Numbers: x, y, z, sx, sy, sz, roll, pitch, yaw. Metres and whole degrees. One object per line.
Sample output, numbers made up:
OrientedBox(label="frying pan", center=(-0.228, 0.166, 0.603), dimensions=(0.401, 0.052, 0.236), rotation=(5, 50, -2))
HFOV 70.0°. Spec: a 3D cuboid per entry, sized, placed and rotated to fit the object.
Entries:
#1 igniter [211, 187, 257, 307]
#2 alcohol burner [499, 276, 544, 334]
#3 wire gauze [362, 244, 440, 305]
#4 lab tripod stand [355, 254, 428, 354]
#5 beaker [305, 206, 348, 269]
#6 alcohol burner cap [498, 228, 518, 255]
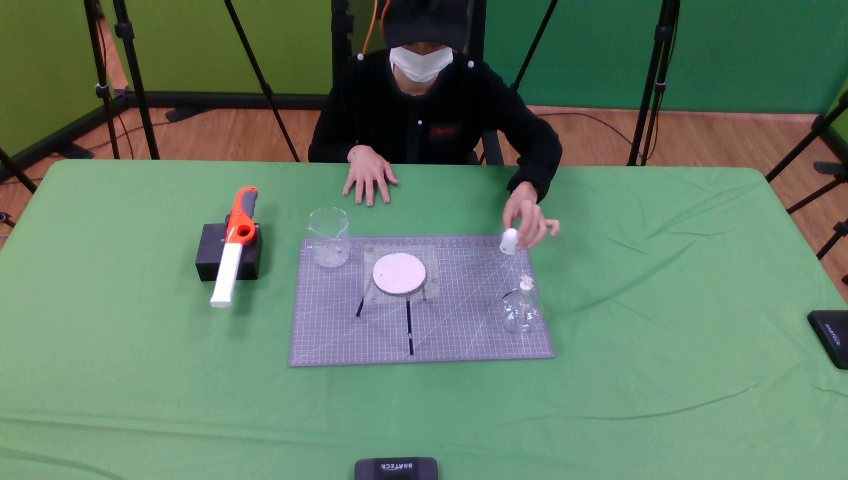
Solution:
OrientedBox(label="igniter", center=(-0.343, 0.003, 1.100), dimensions=(0.057, 0.025, 0.274), rotation=(2, 49, -4))
OrientedBox(label="alcohol burner", center=(0.170, 0.106, 1.041), dimensions=(0.078, 0.120, 0.077), rotation=(1, 44, -1))
OrientedBox(label="wire gauze", center=(-0.038, 0.051, 0.971), dimensions=(0.121, 0.011, 0.124), rotation=(-1, 46, -4))
OrientedBox(label="lab tripod stand", center=(-0.046, 0.100, 1.016), dimensions=(0.148, 0.132, 0.147), rotation=(1, 47, -1))
OrientedBox(label="beaker", center=(-0.176, 0.001, 1.126), dimensions=(0.074, 0.101, 0.083), rotation=(-14, 49, -16))
OrientedBox(label="alcohol burner cap", center=(0.148, 0.001, 1.060), dimensions=(0.034, 0.048, 0.033), rotation=(1, 49, -1))
